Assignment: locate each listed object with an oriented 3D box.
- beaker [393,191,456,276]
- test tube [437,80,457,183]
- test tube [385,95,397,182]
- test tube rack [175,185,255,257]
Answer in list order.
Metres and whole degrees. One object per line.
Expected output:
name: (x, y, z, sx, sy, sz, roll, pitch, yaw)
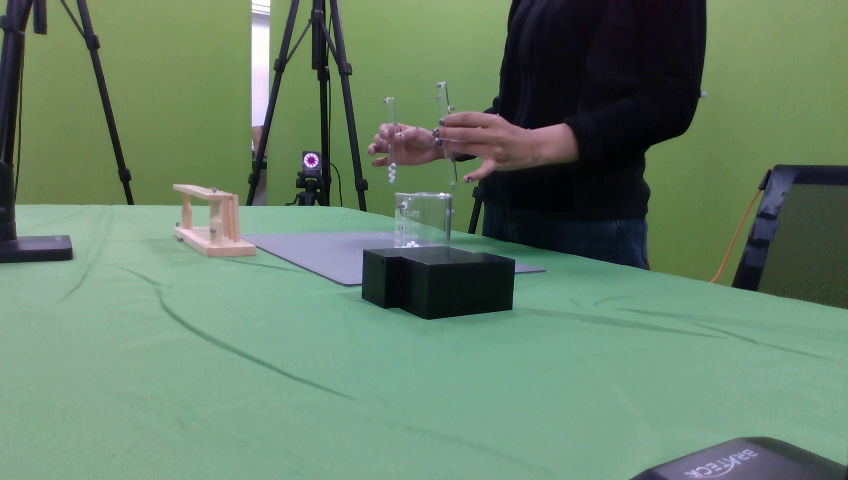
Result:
beaker: (-0.003, -0.010, 0.749, 0.074, 0.100, 0.083, -3, 8, -40)
test tube: (0.034, -0.158, 0.889, 0.017, 0.150, 0.017, -7, 9, 1)
test tube: (-0.057, -0.176, 1.052, 0.017, 0.150, 0.017, -1, 13, 1)
test tube rack: (-0.324, -0.035, 0.922, 0.067, 0.085, 0.241, -2, 9, -31)
